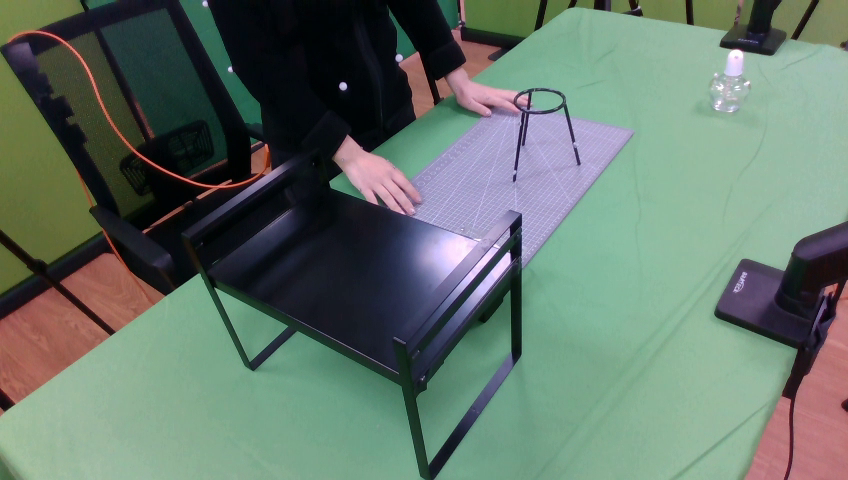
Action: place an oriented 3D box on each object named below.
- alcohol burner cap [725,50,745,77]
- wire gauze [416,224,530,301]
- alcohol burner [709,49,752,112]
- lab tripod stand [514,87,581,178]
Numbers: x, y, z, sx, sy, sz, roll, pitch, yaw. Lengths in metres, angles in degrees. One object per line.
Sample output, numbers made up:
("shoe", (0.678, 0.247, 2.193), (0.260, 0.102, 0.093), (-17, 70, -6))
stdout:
("alcohol burner cap", (0.596, -0.340, 1.154), (0.034, 0.048, 0.033), (-8, 45, 8))
("wire gauze", (0.071, 0.025, 0.872), (0.124, 0.011, 0.122), (27, 50, 33))
("alcohol burner", (0.600, -0.313, 1.179), (0.078, 0.119, 0.077), (-6, 40, 5))
("lab tripod stand", (0.211, -0.196, 1.083), (0.148, 0.132, 0.147), (-3, 39, 3))
